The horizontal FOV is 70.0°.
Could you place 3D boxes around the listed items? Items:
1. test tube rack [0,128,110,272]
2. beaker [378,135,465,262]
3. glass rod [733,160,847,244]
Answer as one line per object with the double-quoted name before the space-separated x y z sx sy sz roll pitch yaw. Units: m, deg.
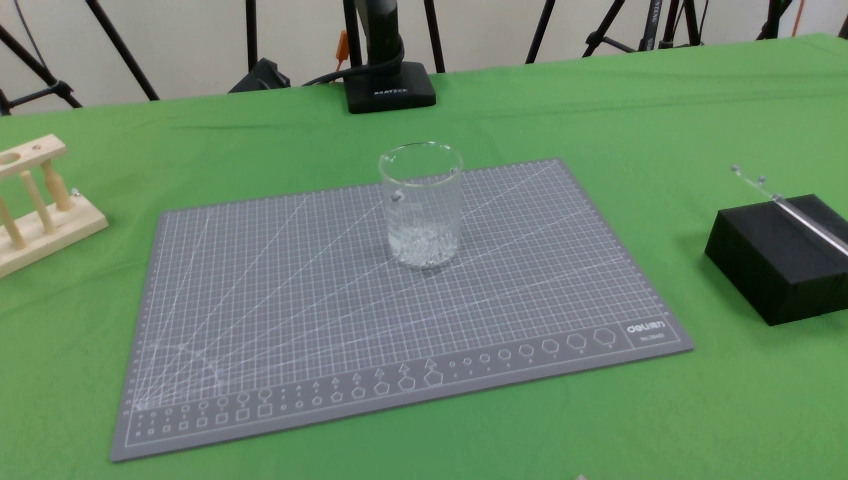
"test tube rack" -0.435 -0.009 0.555 0.066 0.086 0.242 32 50 32
"beaker" -0.004 -0.036 0.560 0.083 0.101 0.074 27 48 30
"glass rod" 0.341 -0.019 0.524 0.008 0.008 0.197 -16 42 -15
